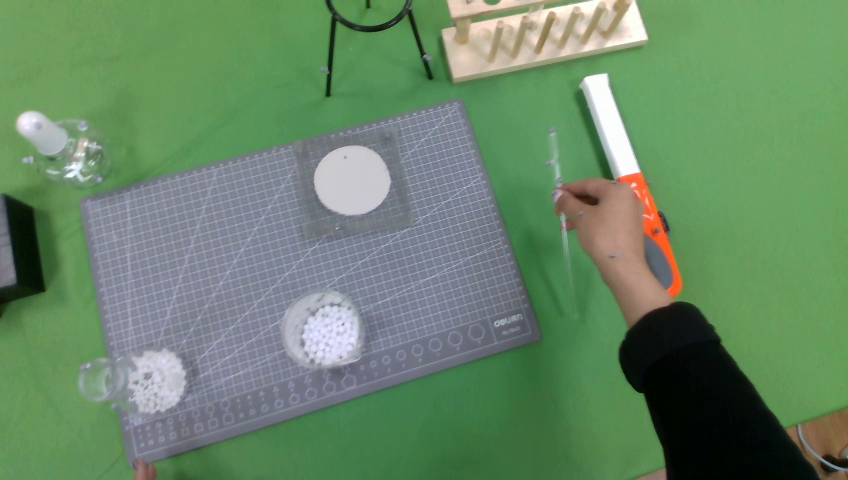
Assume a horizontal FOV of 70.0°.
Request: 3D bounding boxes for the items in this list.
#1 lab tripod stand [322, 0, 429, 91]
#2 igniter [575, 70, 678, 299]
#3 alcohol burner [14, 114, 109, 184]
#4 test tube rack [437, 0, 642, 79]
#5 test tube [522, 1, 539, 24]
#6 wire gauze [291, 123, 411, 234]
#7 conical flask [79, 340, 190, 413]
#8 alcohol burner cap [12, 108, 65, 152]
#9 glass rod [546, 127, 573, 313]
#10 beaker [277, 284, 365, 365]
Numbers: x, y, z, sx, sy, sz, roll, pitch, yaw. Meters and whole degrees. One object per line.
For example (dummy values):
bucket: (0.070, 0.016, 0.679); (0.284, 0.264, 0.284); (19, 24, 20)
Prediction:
lab tripod stand: (-0.063, -0.236, 0.668); (0.148, 0.132, 0.148); (0, 79, -2)
igniter: (0.232, -0.068, 0.695); (0.057, 0.025, 0.275); (-13, 78, -14)
alcohol burner: (-0.387, -0.102, 0.637); (0.078, 0.119, 0.077); (0, 78, 0)
test tube rack: (0.142, -0.260, 0.704); (0.242, 0.085, 0.066); (-13, 77, -4)
test tube: (0.123, -0.282, 0.658); (0.017, 0.151, 0.017); (0, 77, 1)
wire gauze: (-0.084, -0.070, 0.692); (0.125, 0.011, 0.121); (-8, 78, -6)
conical flask: (-0.281, 0.130, 0.582); (0.075, 0.122, 0.075); (0, 77, -2)
alcohol burner cap: (-0.386, -0.112, 0.603); (0.034, 0.048, 0.033); (0, 71, -1)
glass rod: (0.142, -0.018, 0.638); (0.008, 0.008, 0.200); (-10, 100, -4)
beaker: (-0.096, 0.090, 0.609); (0.084, 0.100, 0.074); (36, 79, 6)
